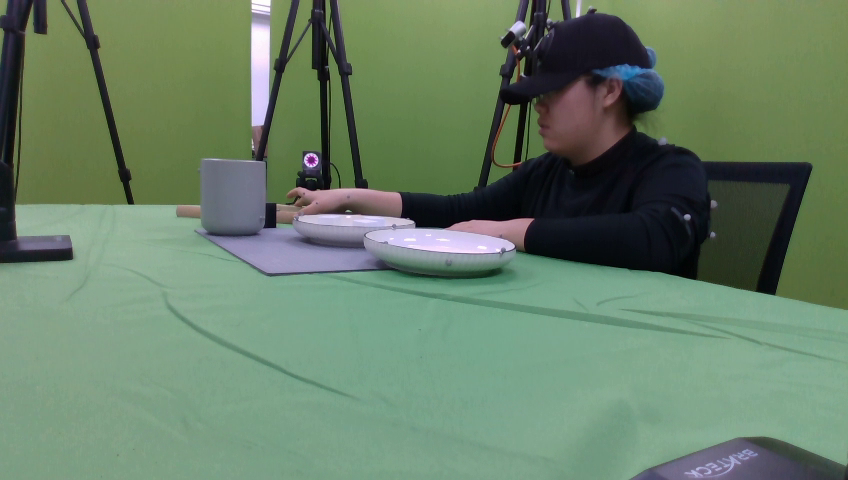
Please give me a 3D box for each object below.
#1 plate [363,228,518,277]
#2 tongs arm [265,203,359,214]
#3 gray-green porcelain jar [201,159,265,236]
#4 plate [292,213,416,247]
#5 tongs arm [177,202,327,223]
[{"bbox_3d":[0.021,0.016,0.817,0.209,0.038,0.209,4,9,0],"label":"plate"},{"bbox_3d":[-0.313,-0.064,1.353,0.384,0.026,0.051,7,7,17],"label":"tongs arm"},{"bbox_3d":[-0.326,-0.073,1.035,0.106,0.126,0.106,3,8,0],"label":"gray-green porcelain jar"},{"bbox_3d":[-0.118,-0.017,1.024,0.208,0.039,0.207,2,8,0],"label":"plate"},{"bbox_3d":[-0.332,-0.054,1.274,0.387,0.028,0.028,4,4,4],"label":"tongs arm"}]
